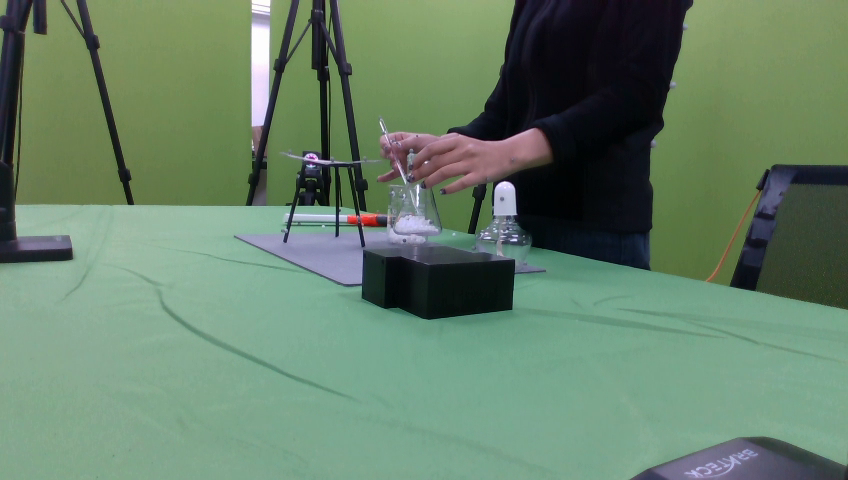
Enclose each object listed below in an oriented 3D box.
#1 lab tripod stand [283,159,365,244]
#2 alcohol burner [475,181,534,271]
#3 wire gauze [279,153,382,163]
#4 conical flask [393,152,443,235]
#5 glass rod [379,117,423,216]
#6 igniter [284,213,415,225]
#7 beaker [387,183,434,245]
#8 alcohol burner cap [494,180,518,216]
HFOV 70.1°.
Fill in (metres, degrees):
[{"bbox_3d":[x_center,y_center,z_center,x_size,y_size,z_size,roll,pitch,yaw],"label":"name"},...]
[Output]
[{"bbox_3d":[-0.151,-0.063,0.983,0.148,0.131,0.148,4,7,0],"label":"lab tripod stand"},{"bbox_3d":[0.108,-0.020,0.803,0.078,0.119,0.078,3,5,0],"label":"alcohol burner"},{"bbox_3d":[-0.149,-0.129,0.974,0.124,0.011,0.122,10,9,41],"label":"wire gauze"},{"bbox_3d":[-0.008,-0.069,0.902,0.075,0.121,0.075,1,-1,0],"label":"conical flask"},{"bbox_3d":[-0.040,-0.126,1.016,0.008,0.199,0.008,-20,-19,-7],"label":"glass rod"},{"bbox_3d":[-0.154,-0.045,1.282,0.278,0.025,0.057,0,-2,-20],"label":"igniter"},{"bbox_3d":[-0.027,-0.044,1.012,0.074,0.100,0.083,-2,8,-34],"label":"beaker"},{"bbox_3d":[0.108,-0.055,0.799,0.034,0.048,0.034,-2,4,0],"label":"alcohol burner cap"}]
